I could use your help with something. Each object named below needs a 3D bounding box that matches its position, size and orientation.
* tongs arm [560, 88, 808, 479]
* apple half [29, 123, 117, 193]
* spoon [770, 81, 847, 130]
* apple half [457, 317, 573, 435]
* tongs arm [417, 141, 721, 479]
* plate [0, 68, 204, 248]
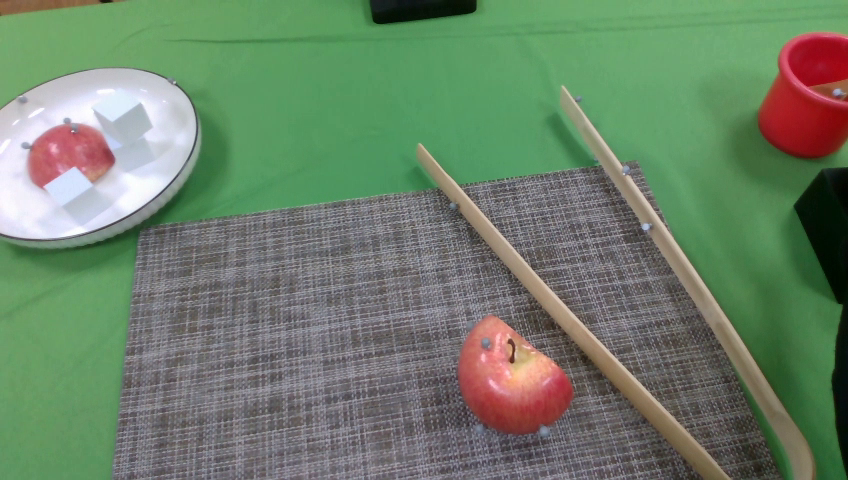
[{"bbox_3d":[0.181,0.016,0.487,0.051,0.027,0.380,-17,59,-12],"label":"tongs arm"},{"bbox_3d":[-0.325,-0.081,0.554,0.081,0.033,0.080,-2,54,3],"label":"apple half"},{"bbox_3d":[0.395,-0.142,0.508,0.022,0.193,0.041,26,56,-33],"label":"spoon"},{"bbox_3d":[0.053,0.100,0.409,0.080,0.075,0.053,40,69,20],"label":"apple half"},{"bbox_3d":[0.106,0.047,0.469,0.028,0.028,0.384,-28,61,-22],"label":"tongs arm"},{"bbox_3d":[-0.304,-0.075,0.556,0.209,0.038,0.207,0,56,1],"label":"plate"}]
